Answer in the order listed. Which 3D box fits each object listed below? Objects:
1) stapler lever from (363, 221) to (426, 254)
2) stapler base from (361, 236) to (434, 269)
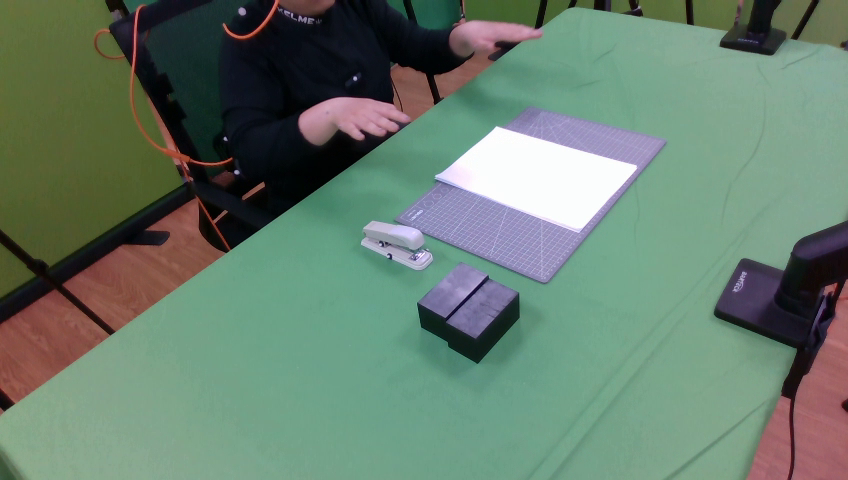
[{"bbox_3d":[-0.048,-0.011,0.958,0.117,0.040,0.027,21,46,32],"label":"stapler lever"},{"bbox_3d":[-0.044,0.009,0.974,0.129,0.024,0.041,21,46,32],"label":"stapler base"}]
